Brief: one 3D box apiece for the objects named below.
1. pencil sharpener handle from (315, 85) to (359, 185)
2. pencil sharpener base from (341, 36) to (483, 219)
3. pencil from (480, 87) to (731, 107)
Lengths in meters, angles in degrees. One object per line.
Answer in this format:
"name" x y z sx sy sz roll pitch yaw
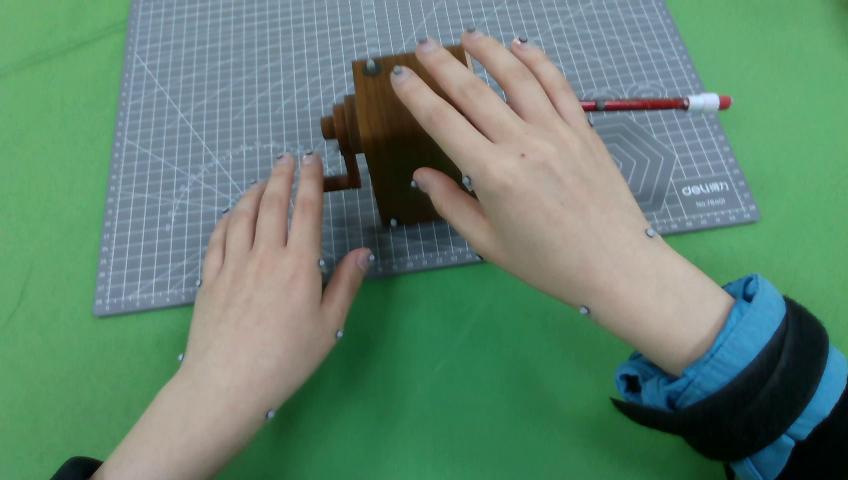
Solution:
"pencil sharpener handle" -0.057 -0.060 0.368 0.030 0.068 0.035 -9 49 -1
"pencil sharpener base" -0.006 -0.065 0.383 0.077 0.108 0.061 -9 64 -1
"pencil" 0.094 -0.086 0.368 0.194 0.012 0.012 -2 63 -7
